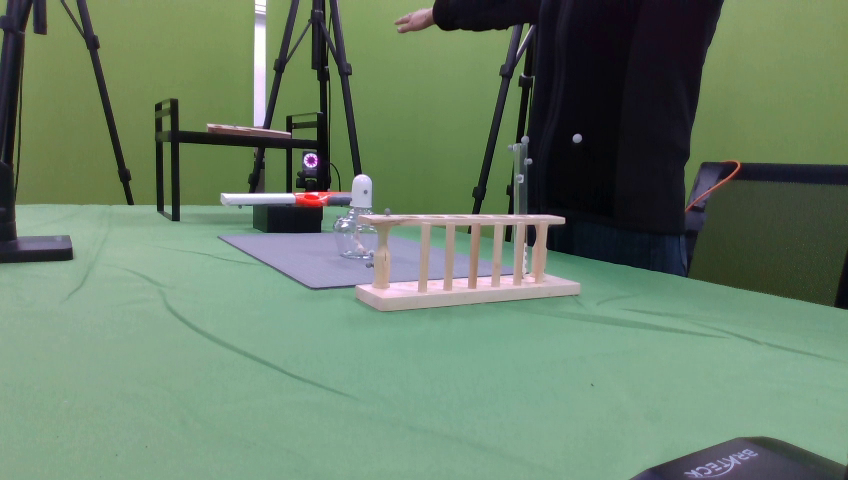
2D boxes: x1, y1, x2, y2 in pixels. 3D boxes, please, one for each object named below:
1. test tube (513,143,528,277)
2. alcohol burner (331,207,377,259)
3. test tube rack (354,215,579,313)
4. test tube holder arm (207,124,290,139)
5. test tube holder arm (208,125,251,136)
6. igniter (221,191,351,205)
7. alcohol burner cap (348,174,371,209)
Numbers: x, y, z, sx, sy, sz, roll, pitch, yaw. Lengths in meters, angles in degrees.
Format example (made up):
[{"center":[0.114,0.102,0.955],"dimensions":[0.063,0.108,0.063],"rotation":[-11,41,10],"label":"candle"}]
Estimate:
[{"center":[0.108,-0.033,0.677],"dimensions":[0.017,0.150,0.017],"rotation":[-1,8,1],"label":"test tube"},{"center":[-0.091,-0.033,0.855],"dimensions":[0.078,0.119,0.078],"rotation":[4,7,0],"label":"alcohol burner"},{"center":[0.053,0.019,0.635],"dimensions":[0.243,0.085,0.066],"rotation":[-1,8,-29],"label":"test tube rack"},{"center":[-0.381,-0.237,1.327],"dimensions":[0.179,0.015,0.013],"rotation":[0,41,-32],"label":"test tube holder arm"},{"center":[-0.418,-0.234,1.299],"dimensions":[0.088,0.015,0.010],"rotation":[1,41,-31],"label":"test tube holder arm"},{"center":[-0.239,-0.078,1.149],"dimensions":[0.278,0.025,0.057],"rotation":[-3,20,-31],"label":"igniter"},{"center":[-0.089,-0.068,0.849],"dimensions":[0.034,0.048,0.034],"rotation":[3,10,0],"label":"alcohol burner cap"}]
